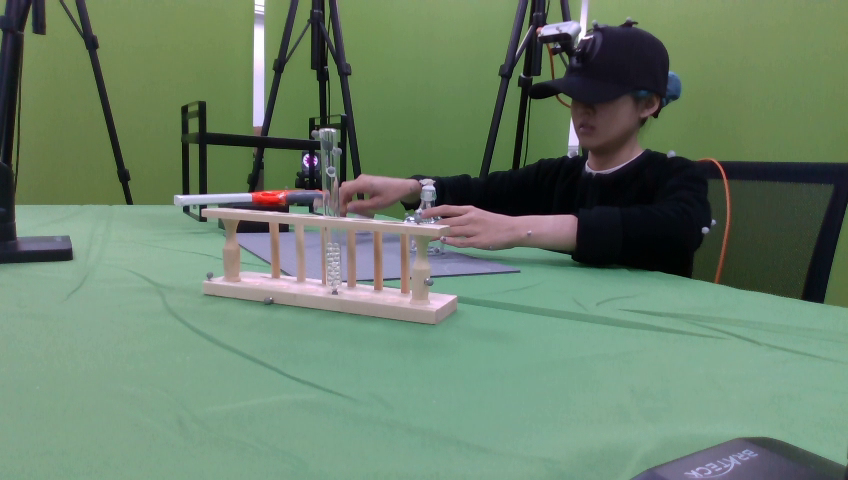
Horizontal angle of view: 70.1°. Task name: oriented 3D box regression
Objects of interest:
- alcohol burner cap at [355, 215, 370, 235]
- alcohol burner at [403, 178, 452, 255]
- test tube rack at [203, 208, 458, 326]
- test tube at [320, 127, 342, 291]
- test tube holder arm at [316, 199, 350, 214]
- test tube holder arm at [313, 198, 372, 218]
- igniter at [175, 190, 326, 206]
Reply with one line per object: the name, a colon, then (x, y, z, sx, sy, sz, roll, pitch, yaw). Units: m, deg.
alcohol burner cap: (-0.117, -0.033, 1.137, 0.034, 0.048, 0.034, 2, 8, 0)
alcohol burner: (0.005, -0.036, 0.923, 0.078, 0.119, 0.078, 4, 7, 0)
test tube rack: (-0.090, 0.019, 0.579, 0.241, 0.085, 0.067, 5, 7, 19)
test tube: (-0.084, -0.027, 0.554, 0.017, 0.150, 0.017, -1, 7, 0)
test tube holder arm: (-0.150, -0.056, 1.003, 0.010, 0.015, 0.088, 22, 5, 23)
test tube holder arm: (-0.137, -0.054, 1.047, 0.013, 0.015, 0.179, 21, 4, 22)
igniter: (-0.315, -0.079, 1.128, 0.278, 0.025, 0.057, -5, 13, -34)
